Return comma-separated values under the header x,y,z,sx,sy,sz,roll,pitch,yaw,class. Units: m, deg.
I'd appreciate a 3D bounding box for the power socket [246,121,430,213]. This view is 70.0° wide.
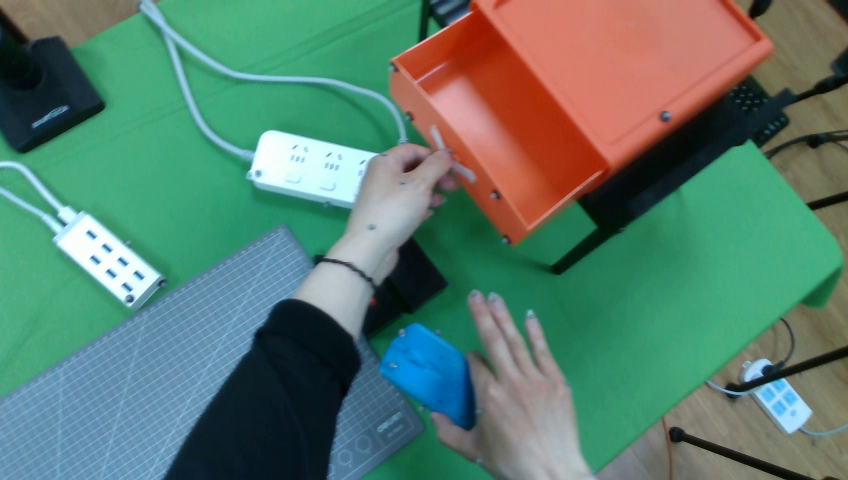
x,y,z,sx,sy,sz,roll,pitch,yaw,class
-0.104,-0.089,0.747,0.227,0.033,0.072,13,75,-1,power socket

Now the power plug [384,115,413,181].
x,y,z,sx,sy,sz,roll,pitch,yaw,class
-0.023,-0.106,0.739,0.035,0.053,0.072,24,74,2,power plug

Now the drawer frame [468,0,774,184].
x,y,z,sx,sy,sz,roll,pitch,yaw,class
0.181,-0.195,0.587,0.213,0.083,0.201,-35,81,-12,drawer frame

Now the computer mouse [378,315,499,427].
x,y,z,sx,sy,sz,roll,pitch,yaw,class
0.014,0.126,0.593,0.117,0.041,0.062,35,76,11,computer mouse

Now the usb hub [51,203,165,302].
x,y,z,sx,sy,sz,roll,pitch,yaw,class
-0.367,0.014,0.704,0.125,0.025,0.049,39,78,5,usb hub

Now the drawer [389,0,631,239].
x,y,z,sx,sy,sz,roll,pitch,yaw,class
0.105,-0.139,0.569,0.212,0.073,0.194,-35,81,-12,drawer
